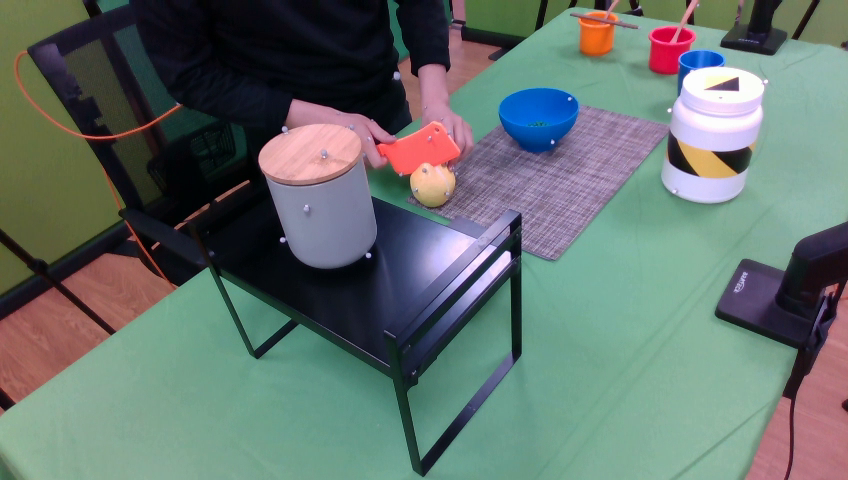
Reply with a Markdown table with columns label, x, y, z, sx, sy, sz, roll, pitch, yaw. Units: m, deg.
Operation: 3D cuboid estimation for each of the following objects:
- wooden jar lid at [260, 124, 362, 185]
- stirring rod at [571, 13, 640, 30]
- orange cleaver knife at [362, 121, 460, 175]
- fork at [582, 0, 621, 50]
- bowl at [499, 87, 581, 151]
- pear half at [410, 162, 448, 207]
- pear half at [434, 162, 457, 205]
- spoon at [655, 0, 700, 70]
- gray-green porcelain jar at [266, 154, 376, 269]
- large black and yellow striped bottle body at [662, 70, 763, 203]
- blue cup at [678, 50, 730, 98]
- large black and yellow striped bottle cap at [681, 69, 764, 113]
| label | x | y | z | sx | sy | sz | roll | pitch | yaw |
| --- | --- | --- | --- | --- | --- | --- | --- | --- | --- |
| wooden jar lid | -0.119 | -0.088 | 0.644 | 0.108 | 0.021 | 0.108 | -4 | 40 | 3 |
| stirring rod | 0.418 | -0.508 | 1.404 | 0.174 | 0.006 | 0.014 | 28 | 53 | 35 |
| orange cleaver knife | -0.039 | -0.145 | 1.019 | 0.210 | 0.077 | 0.012 | -9 | 31 | 30 |
| fork | 0.446 | -0.539 | 1.438 | 0.207 | 0.019 | 0.028 | -57 | 35 | 12 |
| bowl | 0.220 | -0.223 | 1.156 | 0.151 | 0.077 | 0.150 | -4 | 40 | 4 |
| pear half | 0.005 | -0.089 | 1.024 | 0.070 | 0.088 | 0.031 | 8 | 47 | 18 |
| pear half | 0.020 | -0.120 | 1.043 | 0.076 | 0.110 | 0.056 | 10 | 42 | 18 |
| spoon | 0.568 | -0.463 | 1.336 | 0.041 | 0.022 | 0.193 | 30 | 97 | 37 |
| gray-green porcelain jar | -0.112 | -0.039 | 0.686 | 0.106 | 0.127 | 0.105 | -4 | 40 | 4 |
| large black and yellow striped bottle body | 0.464 | -0.166 | 0.976 | 0.131 | 0.185 | 0.130 | -5 | 41 | 5 |
| blue cup | 0.542 | -0.310 | 1.194 | 0.092 | 0.101 | 0.092 | -6 | 41 | 6 |
| large black and yellow striped bottle cap | 0.453 | -0.229 | 0.921 | 0.115 | 0.019 | 0.114 | -4 | 39 | 4 |
